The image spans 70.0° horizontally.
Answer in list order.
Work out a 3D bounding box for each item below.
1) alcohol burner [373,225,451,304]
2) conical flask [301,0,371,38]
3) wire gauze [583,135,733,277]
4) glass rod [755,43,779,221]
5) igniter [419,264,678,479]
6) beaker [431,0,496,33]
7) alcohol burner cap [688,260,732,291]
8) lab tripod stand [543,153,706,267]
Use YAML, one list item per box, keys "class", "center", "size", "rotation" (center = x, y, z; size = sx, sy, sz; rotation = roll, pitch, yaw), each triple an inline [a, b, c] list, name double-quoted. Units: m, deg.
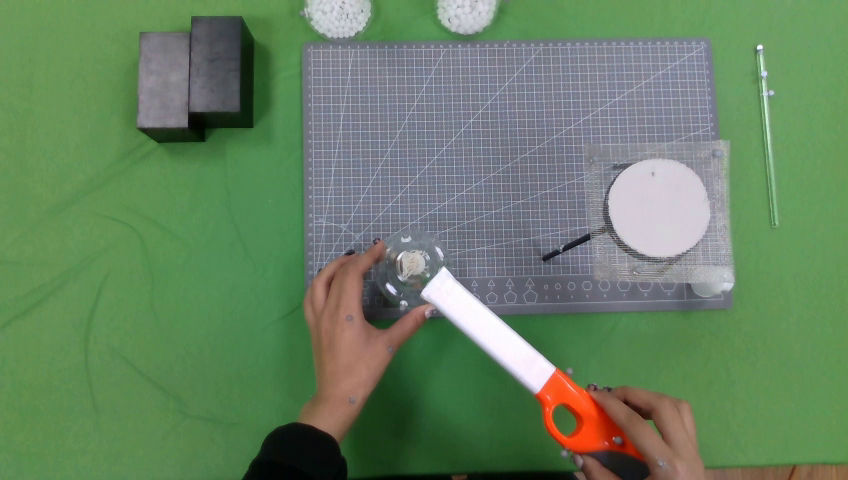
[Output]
- class: "alcohol burner"
  center: [-0.011, 0.023, 0.580]
  size: [0.078, 0.119, 0.077]
  rotation: [0, 85, -2]
- class: "conical flask"
  center: [-0.094, -0.261, 0.605]
  size: [0.075, 0.122, 0.075]
  rotation: [0, 84, -2]
- class: "wire gauze"
  center: [0.200, -0.029, 0.515]
  size: [0.125, 0.011, 0.121]
  rotation: [0, 85, -1]
- class: "glass rod"
  center: [0.376, -0.120, 0.663]
  size: [0.008, 0.008, 0.199]
  rotation: [-2, 84, -2]
- class: "igniter"
  center: [0.107, 0.123, 0.510]
  size: [0.276, 0.025, 0.057]
  rotation: [42, 75, 1]
- class: "beaker"
  center: [0.045, -0.264, 0.622]
  size: [0.084, 0.100, 0.074]
  rotation: [34, 84, 1]
- class: "alcohol burner cap"
  center: [0.298, 0.036, 0.625]
  size: [0.034, 0.048, 0.034]
  rotation: [0, 84, -2]
- class: "lab tripod stand"
  center: [0.194, -0.020, 0.582]
  size: [0.148, 0.131, 0.148]
  rotation: [0, 86, -1]
